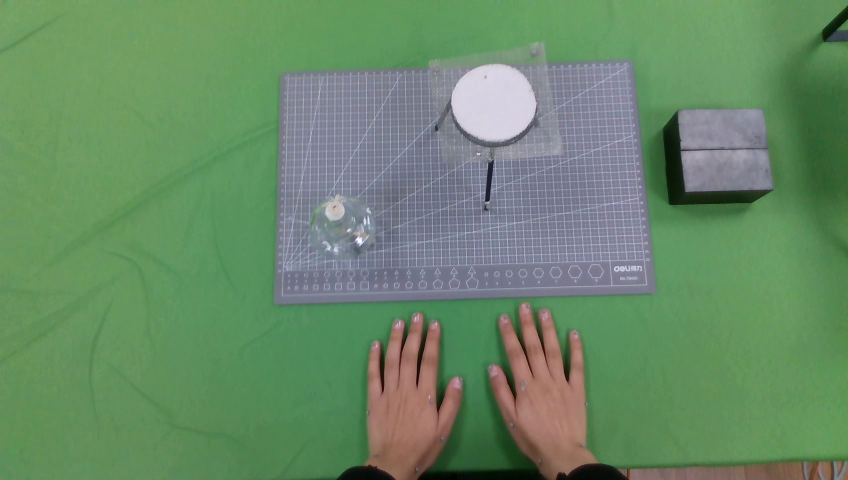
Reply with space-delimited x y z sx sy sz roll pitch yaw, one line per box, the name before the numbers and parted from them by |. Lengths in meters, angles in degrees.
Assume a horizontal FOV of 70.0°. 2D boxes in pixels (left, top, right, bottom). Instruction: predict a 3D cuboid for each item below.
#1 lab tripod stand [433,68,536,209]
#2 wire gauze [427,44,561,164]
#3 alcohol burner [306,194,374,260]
lab tripod stand | 0.075 -0.126 0.687 0.148 0.132 0.147 0 75 1
wire gauze | 0.071 -0.139 0.622 0.125 0.011 0.121 -7 77 -1
alcohol burner | -0.096 -0.020 0.678 0.078 0.119 0.077 0 75 0
